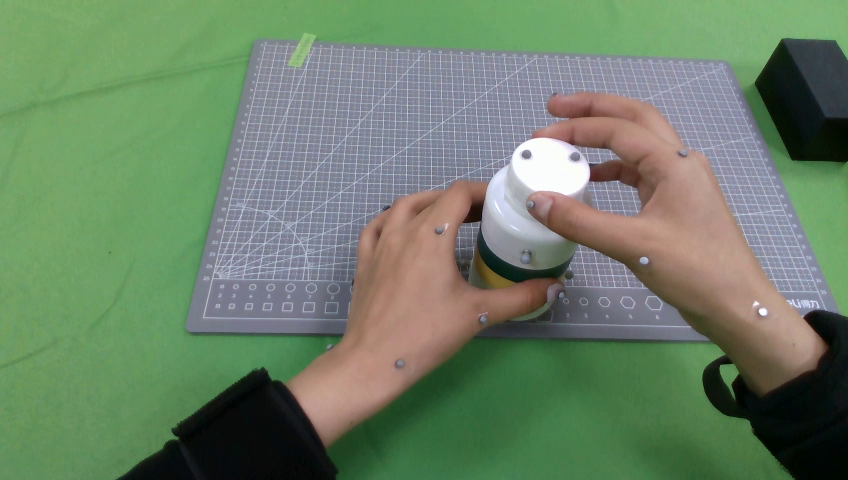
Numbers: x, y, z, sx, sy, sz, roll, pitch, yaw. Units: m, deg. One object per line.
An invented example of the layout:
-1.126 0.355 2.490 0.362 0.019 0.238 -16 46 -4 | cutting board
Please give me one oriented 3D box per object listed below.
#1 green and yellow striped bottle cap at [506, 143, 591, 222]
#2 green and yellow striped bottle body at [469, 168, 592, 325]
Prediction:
0.068 -0.032 0.332 0.045 0.020 0.045 2 53 -3 | green and yellow striped bottle cap
0.065 -0.001 0.378 0.063 0.120 0.062 2 55 -2 | green and yellow striped bottle body
